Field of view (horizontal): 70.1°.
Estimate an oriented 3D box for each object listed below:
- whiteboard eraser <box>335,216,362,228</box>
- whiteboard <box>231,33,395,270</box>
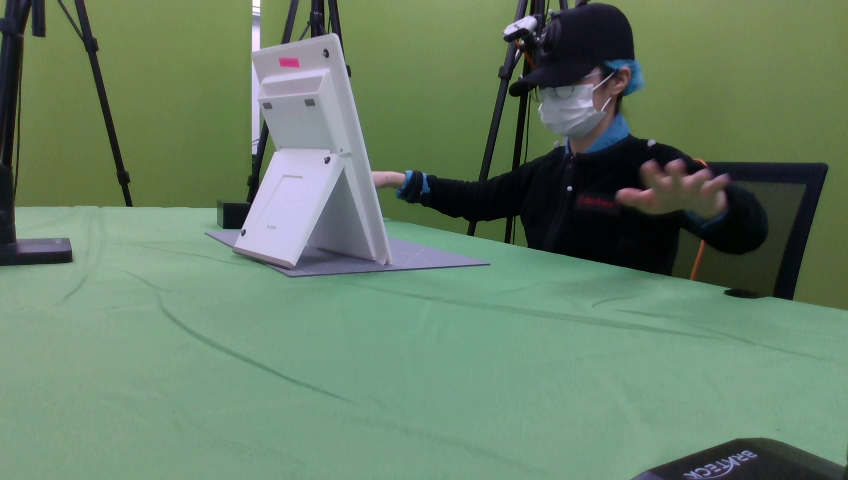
[{"bbox_3d":[-0.159,-0.039,1.277,0.041,0.019,0.101,3,7,6],"label":"whiteboard eraser"},{"bbox_3d":[-0.193,-0.094,0.805,0.144,0.305,0.216,-28,25,-35],"label":"whiteboard"}]
